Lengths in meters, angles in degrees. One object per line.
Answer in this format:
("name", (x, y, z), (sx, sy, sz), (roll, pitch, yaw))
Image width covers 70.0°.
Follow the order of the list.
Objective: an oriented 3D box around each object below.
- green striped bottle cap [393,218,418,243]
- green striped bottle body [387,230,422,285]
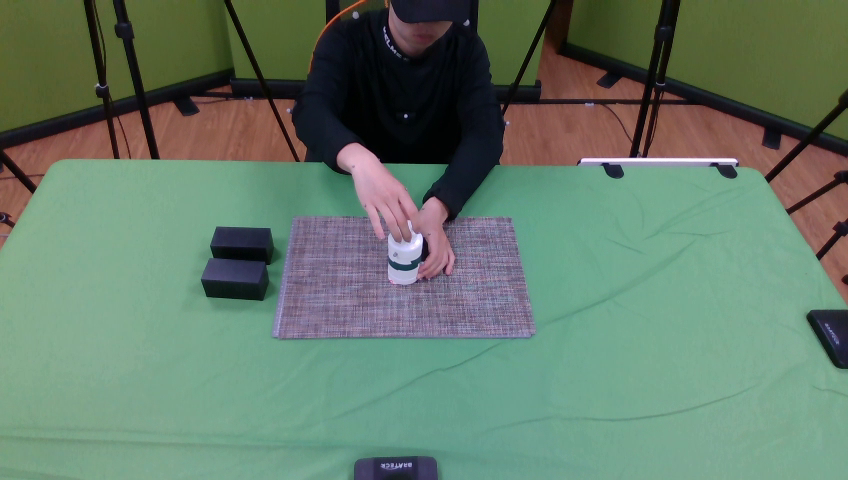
("green striped bottle cap", (-0.032, -0.017, 1.064), (0.044, 0.020, 0.044), (1, 49, -1))
("green striped bottle body", (-0.036, 0.021, 1.102), (0.063, 0.120, 0.063), (2, 46, -2))
